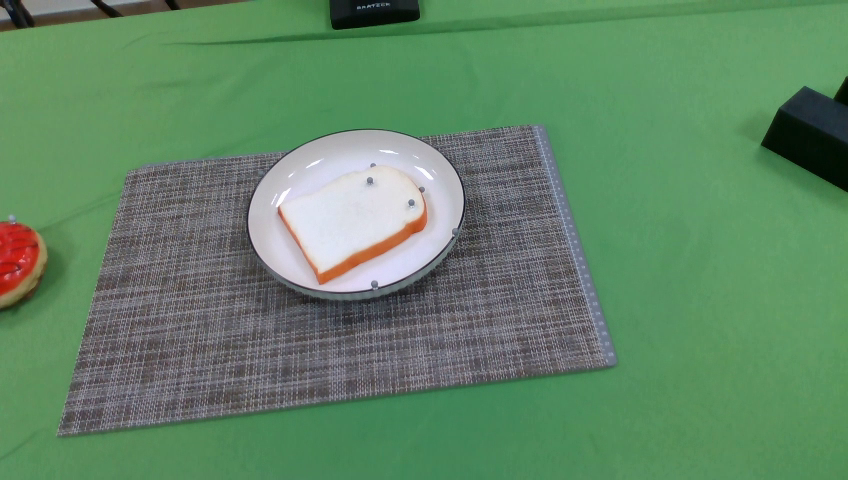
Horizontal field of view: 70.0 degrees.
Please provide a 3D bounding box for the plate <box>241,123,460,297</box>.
[{"bbox_3d":[-0.068,-0.029,0.586,0.207,0.039,0.205,-1,53,2],"label":"plate"}]

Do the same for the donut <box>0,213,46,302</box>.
[{"bbox_3d":[-0.411,0.017,0.573,0.099,0.049,0.098,-3,54,4],"label":"donut"}]

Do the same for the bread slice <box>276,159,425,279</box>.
[{"bbox_3d":[-0.068,-0.031,0.590,0.131,0.019,0.104,-28,57,-16],"label":"bread slice"}]
